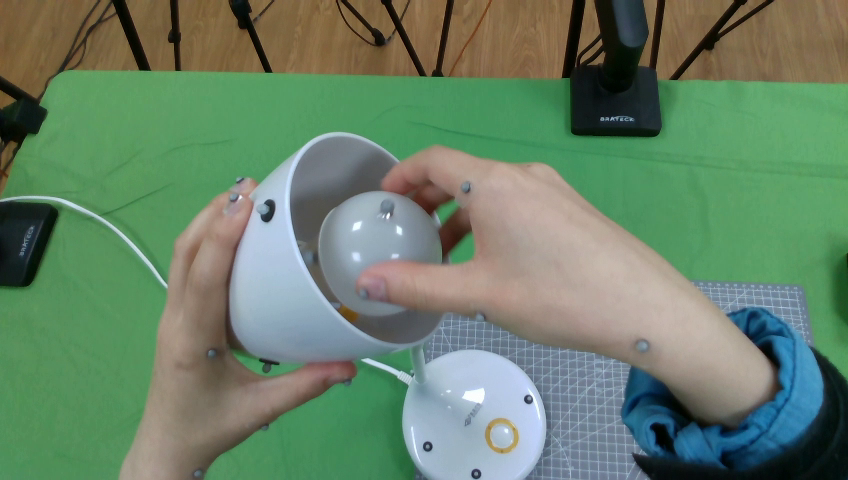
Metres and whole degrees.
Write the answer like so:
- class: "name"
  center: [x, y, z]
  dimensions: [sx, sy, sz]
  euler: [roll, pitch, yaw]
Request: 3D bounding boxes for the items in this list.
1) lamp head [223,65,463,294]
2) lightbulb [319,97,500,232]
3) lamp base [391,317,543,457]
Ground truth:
- class: "lamp head"
  center: [-0.053, -0.017, 0.338]
  dimensions: [0.113, 0.123, 0.111]
  euler: [21, 55, -33]
- class: "lightbulb"
  center: [-0.013, -0.029, 0.287]
  dimensions: [0.107, 0.060, 0.059]
  euler: [-16, 57, 42]
- class: "lamp base"
  center: [0.039, 0.130, 0.626]
  dimensions: [0.179, 0.182, 0.159]
  euler: [10, 66, 10]
